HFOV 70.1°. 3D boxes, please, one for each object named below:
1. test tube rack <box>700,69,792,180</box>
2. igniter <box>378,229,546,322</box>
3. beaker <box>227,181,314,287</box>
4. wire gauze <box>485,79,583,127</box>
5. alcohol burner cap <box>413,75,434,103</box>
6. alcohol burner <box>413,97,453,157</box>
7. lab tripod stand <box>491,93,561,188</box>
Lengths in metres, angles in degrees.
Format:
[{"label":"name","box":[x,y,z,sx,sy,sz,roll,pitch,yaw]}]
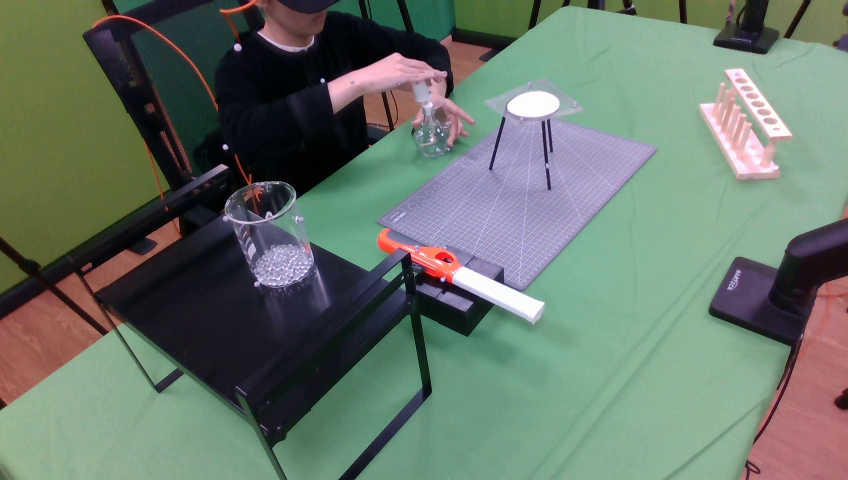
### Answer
[{"label":"test tube rack","box":[0.571,-0.215,1.089,0.066,0.085,0.241,-3,41,7]},{"label":"igniter","box":[0.041,0.043,0.843,0.274,0.025,0.057,24,47,29]},{"label":"beaker","box":[-0.166,-0.006,0.670,0.074,0.101,0.083,-8,40,0]},{"label":"wire gauze","box":[0.185,-0.232,1.023,0.125,0.011,0.120,-20,42,-12]},{"label":"alcohol burner cap","box":[-0.003,-0.279,1.104,0.034,0.048,0.033,-10,47,12]},{"label":"alcohol burner","box":[0.015,-0.222,1.162,0.078,0.119,0.077,-4,39,4]},{"label":"lab tripod stand","box":[0.189,-0.180,1.066,0.148,0.132,0.147,-5,42,5]}]
